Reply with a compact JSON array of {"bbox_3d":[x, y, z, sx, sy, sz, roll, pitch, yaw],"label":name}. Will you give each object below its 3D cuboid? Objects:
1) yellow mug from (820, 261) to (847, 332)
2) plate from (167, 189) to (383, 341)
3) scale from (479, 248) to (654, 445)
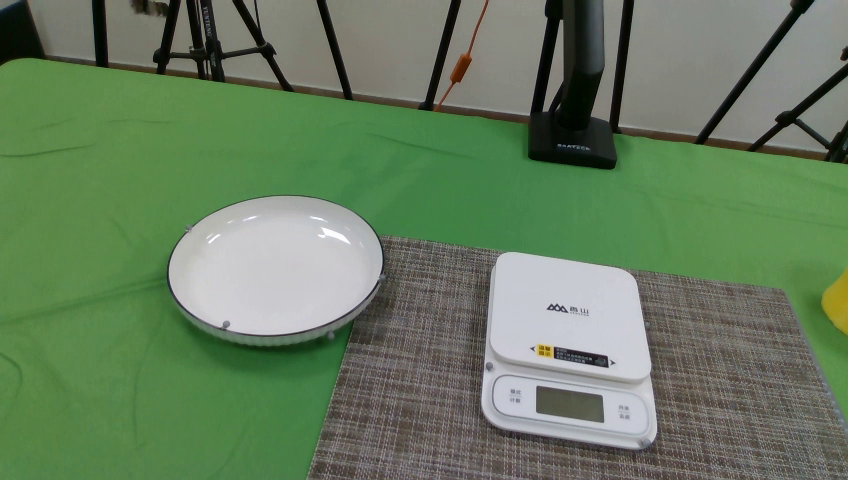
[{"bbox_3d":[0.490,0.064,0.619,0.100,0.064,0.129,-24,50,-29],"label":"yellow mug"},{"bbox_3d":[-0.146,0.024,0.612,0.209,0.038,0.207,3,42,-3],"label":"plate"},{"bbox_3d":[0.132,0.090,0.569,0.148,0.032,0.199,8,42,3],"label":"scale"}]
